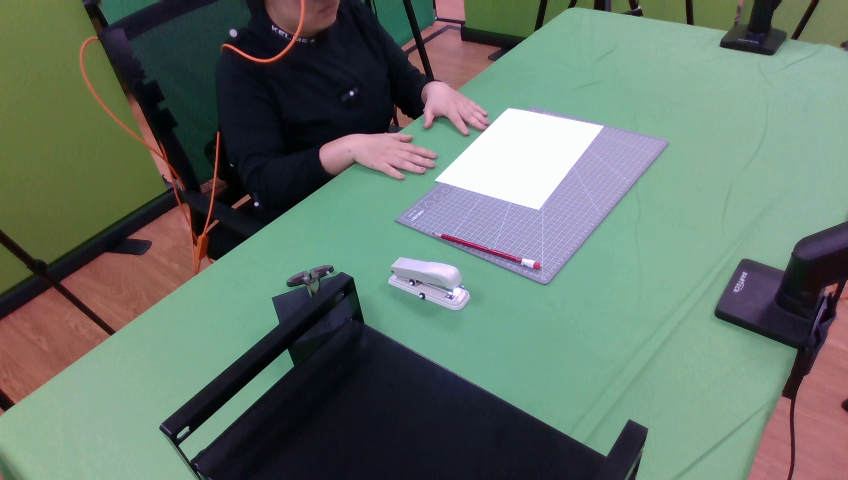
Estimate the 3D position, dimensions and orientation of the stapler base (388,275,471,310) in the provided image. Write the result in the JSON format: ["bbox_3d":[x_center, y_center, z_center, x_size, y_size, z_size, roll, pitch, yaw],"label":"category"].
[{"bbox_3d":[0.007,0.066,0.897,0.129,0.024,0.041,17,44,29],"label":"stapler base"}]

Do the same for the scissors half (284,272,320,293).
[{"bbox_3d":[-0.171,0.063,0.868,0.040,0.013,0.174,-10,7,-22],"label":"scissors half"}]

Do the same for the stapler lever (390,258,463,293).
[{"bbox_3d":[0.002,0.046,0.881,0.117,0.040,0.027,17,44,29],"label":"stapler lever"}]

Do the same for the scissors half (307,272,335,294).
[{"bbox_3d":[-0.152,0.062,0.872,0.040,0.013,0.175,-2,5,-4],"label":"scissors half"}]

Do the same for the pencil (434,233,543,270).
[{"bbox_3d":[0.096,0.015,0.949,0.192,0.012,0.012,18,46,29],"label":"pencil"}]
